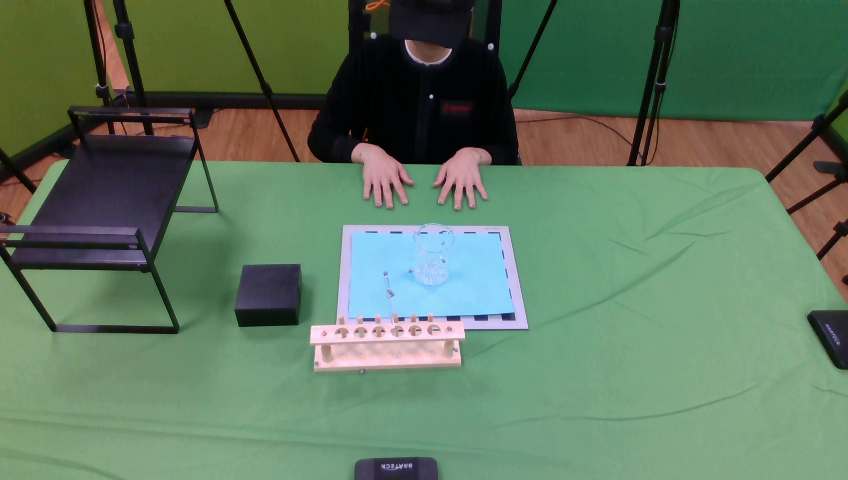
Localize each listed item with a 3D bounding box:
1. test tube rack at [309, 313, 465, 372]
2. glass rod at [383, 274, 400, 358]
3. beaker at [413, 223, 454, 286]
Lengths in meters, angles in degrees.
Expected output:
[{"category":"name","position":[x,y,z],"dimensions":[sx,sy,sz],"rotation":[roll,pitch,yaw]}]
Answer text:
[{"category":"test tube rack","position":[-0.059,0.161,0.990],"dimensions":[0.242,0.085,0.066],"rotation":[-1,46,-5]},{"category":"glass rod","position":[-0.049,0.122,0.936],"dimensions":[0.008,0.201,0.008],"rotation":[-3,43,3]},{"category":"beaker","position":[0.018,0.028,1.110],"dimensions":[0.084,0.101,0.073],"rotation":[-34,57,-31]}]
